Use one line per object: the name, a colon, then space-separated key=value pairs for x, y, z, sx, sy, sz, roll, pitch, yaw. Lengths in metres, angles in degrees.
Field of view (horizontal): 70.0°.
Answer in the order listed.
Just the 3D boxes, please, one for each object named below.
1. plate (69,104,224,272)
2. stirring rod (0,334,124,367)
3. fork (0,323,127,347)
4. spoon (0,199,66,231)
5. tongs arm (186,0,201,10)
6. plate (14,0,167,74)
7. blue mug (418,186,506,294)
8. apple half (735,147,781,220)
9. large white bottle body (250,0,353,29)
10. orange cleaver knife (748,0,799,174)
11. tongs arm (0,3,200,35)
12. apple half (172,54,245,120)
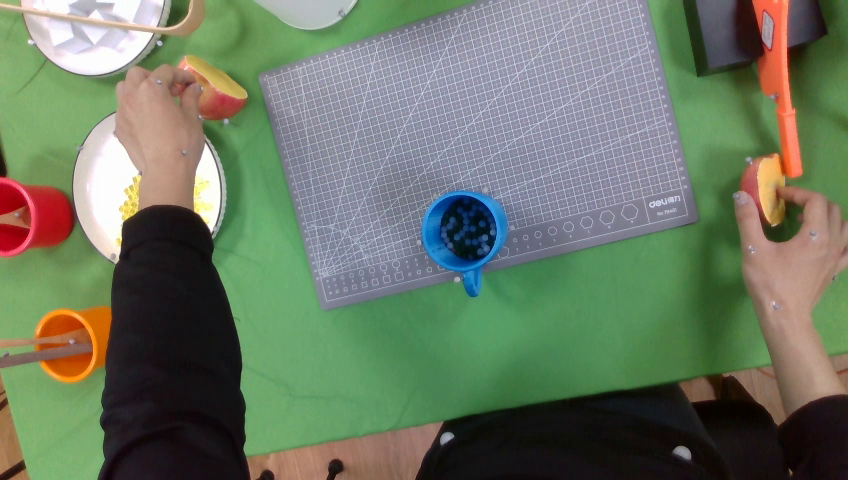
plate: x=-0.344 y=-0.064 z=0.762 sx=0.209 sy=0.038 sz=0.209 roll=1 pitch=96 yaw=11
stirring rod: x=-0.470 y=0.140 z=0.751 sx=0.177 sy=0.006 sz=0.014 roll=-8 pitch=81 yaw=-29
fork: x=-0.483 y=0.123 z=0.749 sx=0.208 sy=0.018 sz=0.028 roll=0 pitch=95 yaw=-32
spoon: x=-0.557 y=-0.023 z=0.754 sx=0.194 sy=0.021 sz=0.041 roll=-9 pitch=92 yaw=-32
tongs arm: x=-0.422 y=-0.369 z=0.719 sx=0.386 sy=0.028 sz=0.028 roll=29 pitch=93 yaw=9
plate: x=-0.409 y=-0.310 z=0.753 sx=0.207 sy=0.039 sz=0.208 roll=1 pitch=96 yaw=11
blue mug: x=0.046 y=0.001 z=0.657 sx=0.082 sy=0.106 sz=0.116 roll=-6 pitch=94 yaw=12
apple half: x=0.341 y=-0.056 z=0.625 sx=0.032 sy=0.082 sz=0.081 roll=-1 pitch=96 yaw=46
large white bottle body: x=-0.152 y=-0.309 z=0.629 sx=0.130 sy=0.185 sz=0.130 roll=1 pitch=94 yaw=11
orange cleaver knife: x=0.343 y=-0.167 z=0.598 sx=0.012 sy=0.076 sz=0.213 roll=-18 pitch=117 yaw=12
tongs arm: x=-0.449 y=-0.290 z=0.730 sx=0.383 sy=0.026 sz=0.051 roll=15 pitch=94 yaw=11
apple half: x=-0.258 y=-0.172 z=0.715 sx=0.081 sy=0.074 sz=0.053 roll=41 pitch=107 yaw=-4
